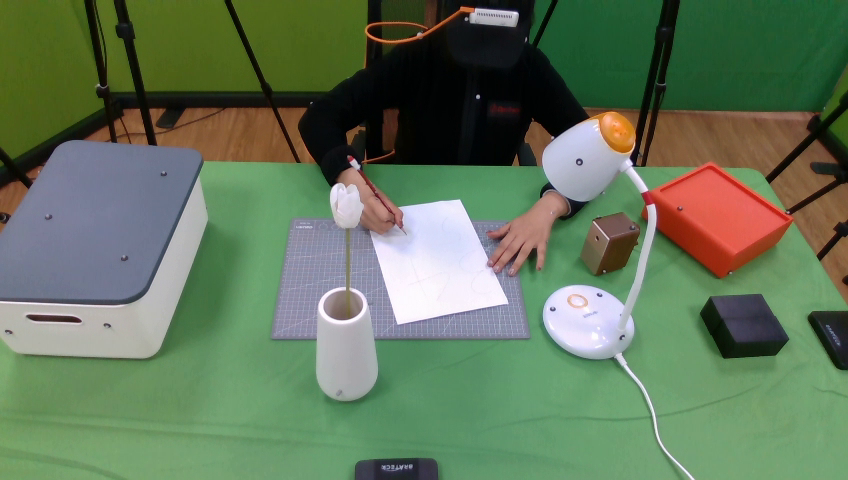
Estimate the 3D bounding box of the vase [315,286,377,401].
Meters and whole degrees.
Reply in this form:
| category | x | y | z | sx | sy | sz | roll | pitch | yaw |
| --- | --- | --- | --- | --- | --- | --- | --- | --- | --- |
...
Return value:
| category | x | y | z | sx | sy | sz | roll | pitch | yaw |
| --- | --- | --- | --- | --- | --- | --- | --- | --- | --- |
| vase | -0.119 | 0.159 | 0.911 | 0.098 | 0.201 | 0.097 | 2 | 47 | -2 |

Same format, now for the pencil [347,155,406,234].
| category | x | y | z | sx | sy | sz | roll | pitch | yaw |
| --- | --- | --- | --- | --- | --- | --- | --- | --- | --- |
| pencil | -0.089 | -0.085 | 1.182 | 0.012 | 0.195 | 0.012 | -31 | 20 | 13 |

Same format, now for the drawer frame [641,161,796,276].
| category | x | y | z | sx | sy | sz | roll | pitch | yaw |
| --- | --- | --- | --- | --- | --- | --- | --- | --- | --- |
| drawer frame | 0.599 | -0.051 | 1.244 | 0.202 | 0.083 | 0.212 | -24 | 53 | -25 |

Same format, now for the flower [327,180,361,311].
| category | x | y | z | sx | sy | sz | roll | pitch | yaw |
| --- | --- | --- | --- | --- | --- | --- | --- | --- | --- |
| flower | -0.111 | 0.086 | 0.867 | 0.044 | 0.363 | 0.038 | 22 | 33 | 36 |

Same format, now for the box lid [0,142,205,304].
| category | x | y | z | sx | sy | sz | roll | pitch | yaw |
| --- | --- | --- | --- | --- | --- | --- | --- | --- | --- |
| box lid | -0.534 | -0.044 | 0.995 | 0.263 | 0.015 | 0.369 | 3 | 45 | -3 |

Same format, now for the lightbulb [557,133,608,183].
| category | x | y | z | sx | sy | sz | roll | pitch | yaw |
| --- | --- | --- | --- | --- | --- | --- | --- | --- | --- |
| lightbulb | 0.243 | -0.127 | 0.917 | 0.060 | 0.108 | 0.059 | 6 | 67 | -14 |

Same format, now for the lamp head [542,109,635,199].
| category | x | y | z | sx | sy | sz | roll | pitch | yaw |
| --- | --- | --- | --- | --- | --- | --- | --- | --- | --- |
| lamp head | 0.253 | -0.131 | 0.893 | 0.113 | 0.123 | 0.112 | 10 | 66 | -24 |

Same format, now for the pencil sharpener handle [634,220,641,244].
| category | x | y | z | sx | sy | sz | roll | pitch | yaw |
| --- | --- | --- | --- | --- | --- | --- | --- | --- | --- |
| pencil sharpener handle | 0.405 | -0.015 | 1.162 | 0.031 | 0.068 | 0.035 | -15 | 45 | -17 |

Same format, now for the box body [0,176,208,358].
| category | x | y | z | sx | sy | sz | roll | pitch | yaw |
| --- | --- | --- | --- | --- | --- | --- | --- | --- | --- |
| box body | -0.546 | 0.017 | 1.045 | 0.254 | 0.161 | 0.361 | 2 | 46 | -2 |

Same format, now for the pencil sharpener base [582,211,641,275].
| category | x | y | z | sx | sy | sz | roll | pitch | yaw |
| --- | --- | --- | --- | --- | --- | --- | --- | --- | --- |
| pencil sharpener base | 0.357 | 0.005 | 1.156 | 0.077 | 0.107 | 0.061 | -15 | 48 | -18 |

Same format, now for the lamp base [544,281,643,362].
| category | x | y | z | sx | sy | sz | roll | pitch | yaw |
| --- | --- | --- | --- | --- | --- | --- | --- | --- | --- |
| lamp base | 0.303 | 0.095 | 1.014 | 0.161 | 0.181 | 0.178 | -24 | 54 | -24 |

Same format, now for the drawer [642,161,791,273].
| category | x | y | z | sx | sy | sz | roll | pitch | yaw |
| --- | --- | --- | --- | --- | --- | --- | --- | --- | --- |
| drawer | 0.596 | -0.051 | 1.246 | 0.194 | 0.073 | 0.210 | -23 | 52 | -25 |
